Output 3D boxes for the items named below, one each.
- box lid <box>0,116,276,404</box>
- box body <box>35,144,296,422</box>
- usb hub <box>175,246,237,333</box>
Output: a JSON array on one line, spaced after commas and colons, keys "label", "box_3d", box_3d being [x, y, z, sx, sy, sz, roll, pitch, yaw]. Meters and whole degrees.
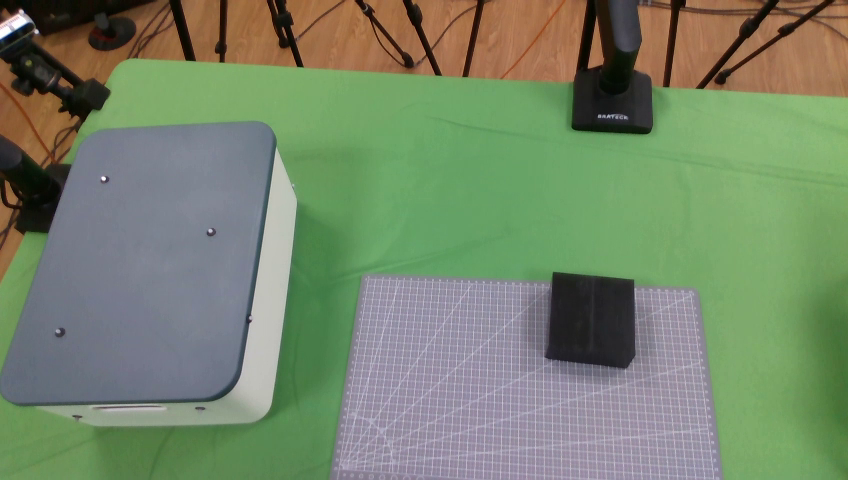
[{"label": "box lid", "box_3d": [-0.320, 0.007, 0.710, 0.263, 0.015, 0.368, -2, 61, 4]}, {"label": "box body", "box_3d": [-0.314, 0.041, 0.775, 0.254, 0.162, 0.361, -2, 61, 3]}, {"label": "usb hub", "box_3d": [-0.297, 0.066, 0.829, 0.049, 0.025, 0.124, 1, 59, 8]}]
